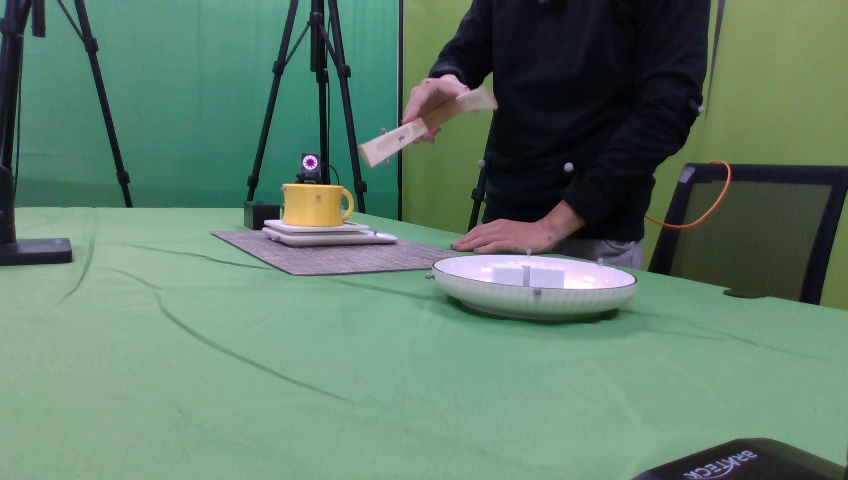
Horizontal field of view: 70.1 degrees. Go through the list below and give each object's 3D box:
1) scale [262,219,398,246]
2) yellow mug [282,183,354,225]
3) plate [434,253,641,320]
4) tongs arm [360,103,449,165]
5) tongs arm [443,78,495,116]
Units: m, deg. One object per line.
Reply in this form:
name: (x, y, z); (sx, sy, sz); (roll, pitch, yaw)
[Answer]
scale: (-0.160, -0.016, 1.028); (0.202, 0.031, 0.148); (-2, 9, -31)
yellow mug: (-0.172, -0.061, 1.010); (0.131, 0.064, 0.099); (-2, 8, -42)
plate: (0.114, 0.047, 0.625); (0.208, 0.039, 0.207); (2, 7, 0)
tongs arm: (-0.013, -0.145, 0.781); (0.050, 0.026, 0.385); (-27, 10, 14)
tongs arm: (0.053, -0.178, 0.768); (0.028, 0.028, 0.387); (-33, 10, 4)
